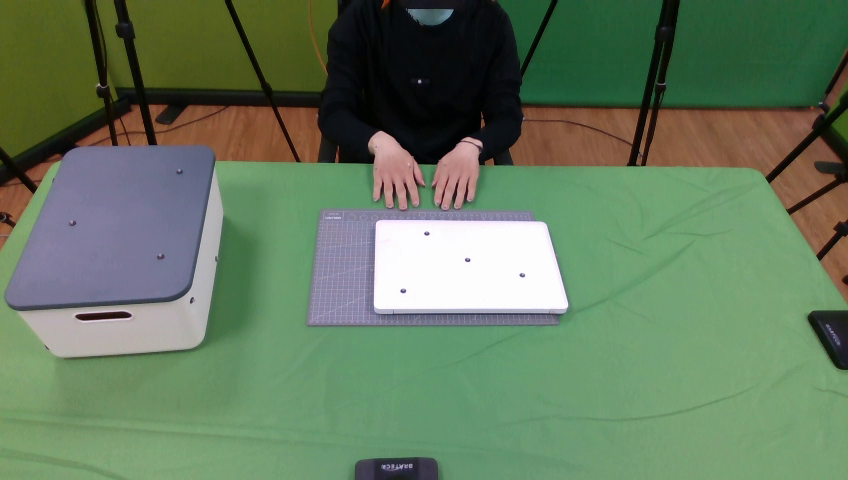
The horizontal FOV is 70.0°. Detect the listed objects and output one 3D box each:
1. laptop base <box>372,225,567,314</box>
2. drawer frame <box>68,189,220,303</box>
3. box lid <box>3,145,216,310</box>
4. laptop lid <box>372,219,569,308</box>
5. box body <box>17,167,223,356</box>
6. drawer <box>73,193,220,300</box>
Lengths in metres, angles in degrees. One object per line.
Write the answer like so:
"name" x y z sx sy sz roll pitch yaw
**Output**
"laptop base" 0.080 0.049 1.158 0.355 0.023 0.234 0 43 -4
"drawer frame" -0.495 0.006 1.100 0.202 0.083 0.212 -1 49 -4
"box lid" -0.495 -0.040 0.998 0.263 0.015 0.369 -2 47 -8
"laptop lid" 0.081 0.039 1.152 0.357 0.013 0.240 2 44 -3
"box body" -0.499 0.012 1.051 0.254 0.161 0.361 -3 47 -7
"drawer" -0.494 0.009 1.103 0.195 0.073 0.210 2 45 -6
